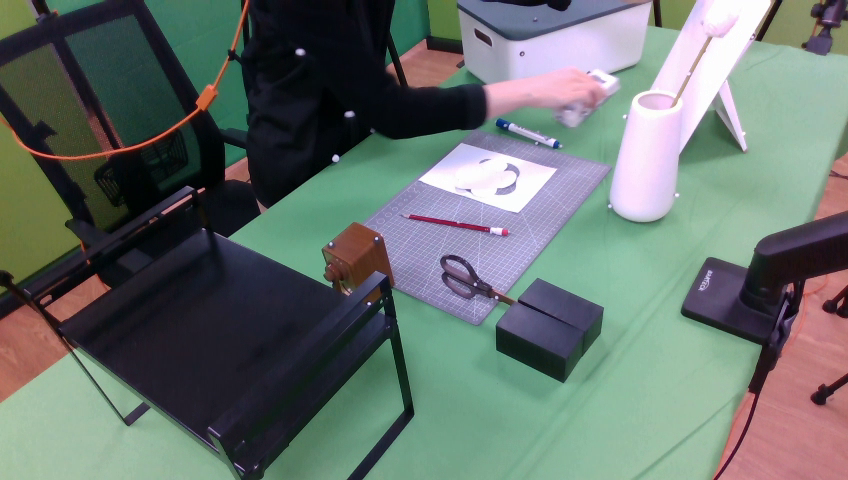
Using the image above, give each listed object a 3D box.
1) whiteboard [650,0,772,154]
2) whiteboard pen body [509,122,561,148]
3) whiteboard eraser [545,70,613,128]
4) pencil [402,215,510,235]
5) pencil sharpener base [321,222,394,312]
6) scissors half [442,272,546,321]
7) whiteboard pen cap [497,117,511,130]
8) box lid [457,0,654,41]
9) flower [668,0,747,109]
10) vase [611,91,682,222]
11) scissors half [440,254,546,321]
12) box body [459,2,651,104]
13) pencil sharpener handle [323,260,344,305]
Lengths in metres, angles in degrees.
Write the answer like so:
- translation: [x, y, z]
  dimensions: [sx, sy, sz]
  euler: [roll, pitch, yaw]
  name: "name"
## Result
- translation: [0.543, -0.298, 1.076]
  dimensions: [0.144, 0.305, 0.216]
  euler: [12, 40, -7]
  name: "whiteboard"
- translation: [0.209, -0.212, 1.195]
  dimensions: [0.139, 0.017, 0.017]
  euler: [30, 53, 33]
  name: "whiteboard pen body"
- translation: [0.268, -0.242, 1.049]
  dimensions: [0.113, 0.042, 0.055]
  euler: [-39, 49, -5]
  name: "whiteboard eraser"
- translation: [0.049, -0.027, 1.007]
  dimensions: [0.193, 0.012, 0.012]
  euler: [10, 43, 21]
  name: "pencil"
- translation: [-0.096, 0.041, 0.873]
  dimensions: [0.061, 0.107, 0.077]
  euler: [25, 54, 32]
  name: "pencil sharpener base"
- translation: [0.094, 0.080, 0.838]
  dimensions: [0.173, 0.040, 0.013]
  euler: [19, 45, 39]
  name: "scissors half"
- translation: [0.165, -0.235, 1.227]
  dimensions: [0.033, 0.018, 0.018]
  euler: [33, 54, 30]
  name: "whiteboard pen cap"
- translation: [0.285, -0.522, 1.323]
  dimensions: [0.373, 0.015, 0.261]
  euler: [-22, 43, -16]
  name: "box lid"
- translation: [0.355, -0.187, 0.879]
  dimensions: [0.038, 0.362, 0.044]
  euler: [30, 48, 14]
  name: "flower"
- translation: [0.348, -0.125, 0.935]
  dimensions: [0.098, 0.201, 0.097]
  euler: [-3, 40, 3]
  name: "vase"
- translation: [0.092, 0.065, 0.825]
  dimensions: [0.174, 0.040, 0.013]
  euler: [31, 57, 25]
  name: "scissors half"
- translation: [0.291, -0.465, 1.371]
  dimensions: [0.365, 0.161, 0.252]
  euler: [-22, 42, -16]
  name: "box body"
- translation: [-0.131, 0.062, 0.839]
  dimensions: [0.035, 0.068, 0.031]
  euler: [29, 55, 28]
  name: "pencil sharpener handle"
